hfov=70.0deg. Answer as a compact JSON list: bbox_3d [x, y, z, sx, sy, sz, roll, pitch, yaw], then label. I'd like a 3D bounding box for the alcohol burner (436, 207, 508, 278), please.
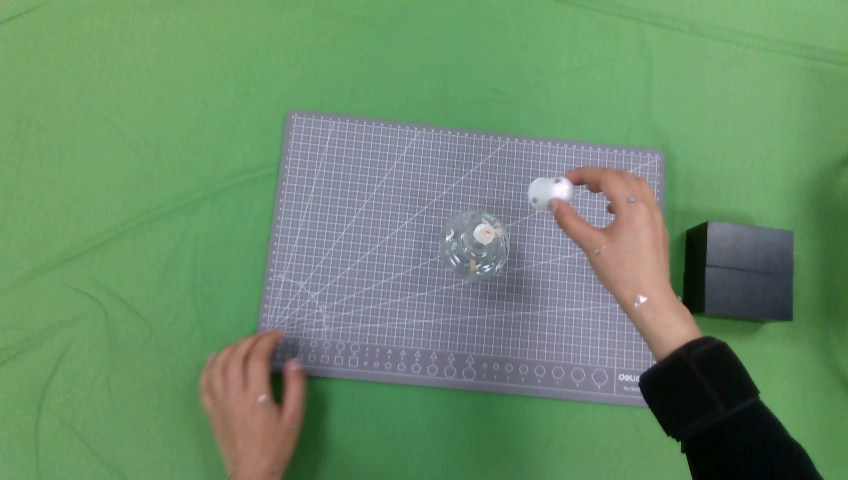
[{"bbox_3d":[0.053,0.000,0.638,0.078,0.119,0.077,1,80,-5],"label":"alcohol burner"}]

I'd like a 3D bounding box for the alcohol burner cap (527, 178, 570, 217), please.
[{"bbox_3d":[0.119,-0.042,0.570,0.034,0.048,0.034,1,83,-9],"label":"alcohol burner cap"}]
